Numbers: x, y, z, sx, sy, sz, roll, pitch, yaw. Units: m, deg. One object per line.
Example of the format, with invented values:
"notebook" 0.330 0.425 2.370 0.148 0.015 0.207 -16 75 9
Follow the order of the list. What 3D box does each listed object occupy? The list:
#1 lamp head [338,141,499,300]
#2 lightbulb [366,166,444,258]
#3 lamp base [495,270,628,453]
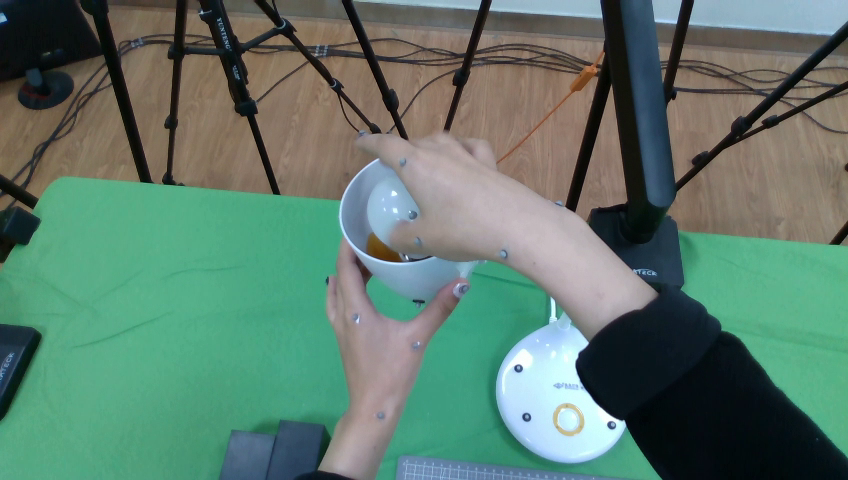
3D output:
"lamp head" 0.002 -0.004 0.503 0.112 0.124 0.111 -8 57 13
"lightbulb" -0.010 -0.014 0.479 0.059 0.109 0.059 -5 58 8
"lamp base" 0.164 0.126 0.678 0.161 0.182 0.177 -6 56 -4
